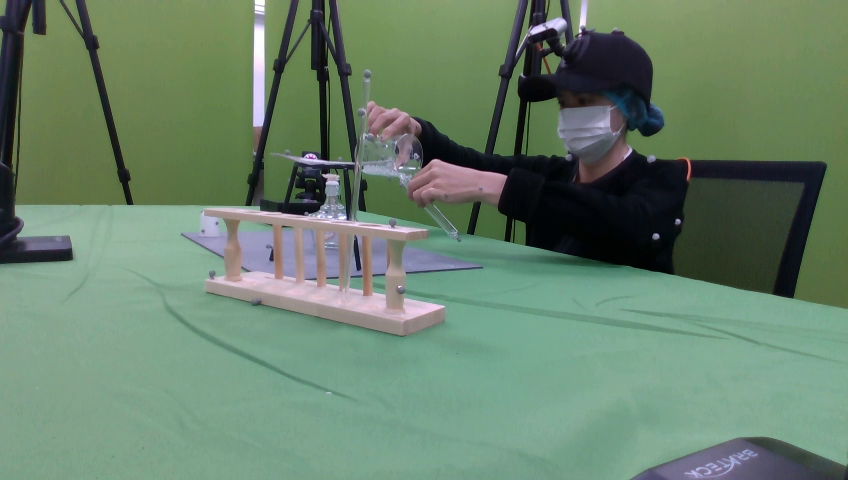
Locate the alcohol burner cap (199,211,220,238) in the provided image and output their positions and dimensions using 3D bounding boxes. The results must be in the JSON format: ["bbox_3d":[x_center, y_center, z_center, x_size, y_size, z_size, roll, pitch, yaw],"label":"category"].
[{"bbox_3d":[-0.356,-0.027,1.002,0.034,0.048,0.034,2,7,0],"label":"alcohol burner cap"}]

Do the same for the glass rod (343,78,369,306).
[{"bbox_3d":[-0.059,-0.038,0.522,0.008,0.199,0.008,6,5,0],"label":"glass rod"}]

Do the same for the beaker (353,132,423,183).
[{"bbox_3d":[-0.064,-0.141,1.026,0.100,0.084,0.074,9,4,40],"label":"beaker"}]

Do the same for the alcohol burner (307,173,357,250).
[{"bbox_3d":[-0.144,-0.045,0.940,0.078,0.119,0.078,1,8,0],"label":"alcohol burner"}]

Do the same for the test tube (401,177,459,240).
[{"bbox_3d":[0.009,-0.052,0.963,0.017,0.017,0.149,-5,44,-44],"label":"test tube"}]

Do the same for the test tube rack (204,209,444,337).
[{"bbox_3d":[-0.100,0.021,0.565,0.241,0.085,0.067,7,9,32],"label":"test tube rack"}]

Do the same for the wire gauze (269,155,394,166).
[{"bbox_3d":[-0.121,-0.102,0.785,0.122,0.011,0.124,-3,10,-39],"label":"wire gauze"}]

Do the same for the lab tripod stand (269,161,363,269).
[{"bbox_3d":[-0.125,-0.036,0.794,0.148,0.131,0.148,5,7,0],"label":"lab tripod stand"}]
